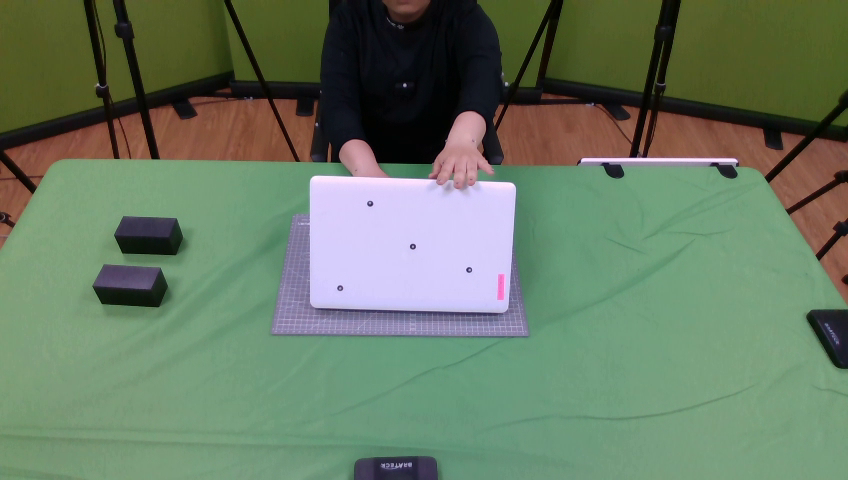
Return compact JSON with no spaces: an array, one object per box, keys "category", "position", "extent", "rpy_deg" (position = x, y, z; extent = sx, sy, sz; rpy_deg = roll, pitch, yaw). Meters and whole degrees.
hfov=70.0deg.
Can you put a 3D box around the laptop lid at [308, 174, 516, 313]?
[{"category":"laptop lid","position":[-0.022,0.010,1.042],"extent":[0.357,0.242,0.013],"rpy_deg":[3,10,-3]}]

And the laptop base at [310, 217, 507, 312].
[{"category":"laptop base","position":[-0.028,0.045,1.154],"extent":[0.354,0.023,0.234],"rpy_deg":[2,42,-3]}]
